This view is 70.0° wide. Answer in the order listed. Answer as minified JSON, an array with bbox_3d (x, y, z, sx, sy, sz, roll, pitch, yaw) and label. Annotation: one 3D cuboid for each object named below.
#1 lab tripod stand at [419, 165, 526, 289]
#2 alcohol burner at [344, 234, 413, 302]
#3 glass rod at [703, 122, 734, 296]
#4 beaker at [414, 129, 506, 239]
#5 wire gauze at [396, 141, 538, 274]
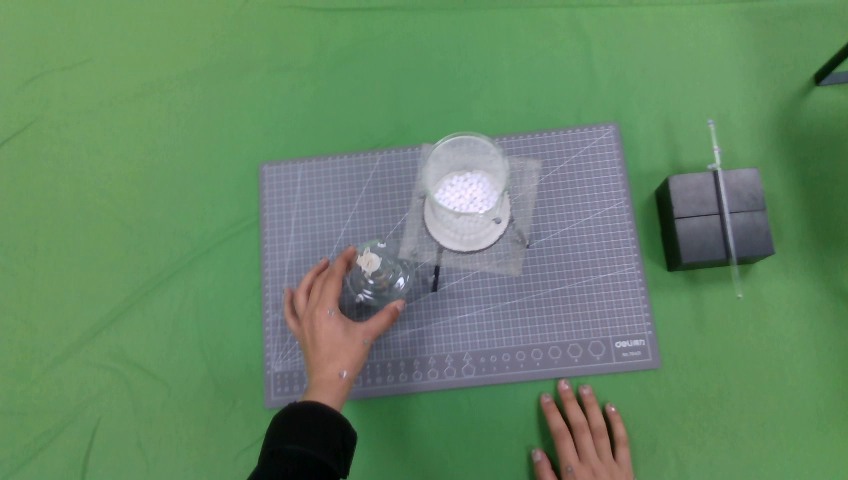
[{"bbox_3d":[0.041,-0.019,0.660,0.148,0.132,0.147,-1,76,5],"label":"lab tripod stand"},{"bbox_3d":[-0.052,0.028,0.661,0.078,0.119,0.077,0,80,2],"label":"alcohol burner"},{"bbox_3d":[0.324,-0.037,0.666,0.008,0.008,0.198,-3,77,3],"label":"glass rod"},{"bbox_3d":[0.036,-0.043,0.549,0.074,0.101,0.083,-34,76,-4],"label":"beaker"},{"bbox_3d":[0.043,-0.033,0.596,0.121,0.011,0.124,11,75,5],"label":"wire gauze"}]
